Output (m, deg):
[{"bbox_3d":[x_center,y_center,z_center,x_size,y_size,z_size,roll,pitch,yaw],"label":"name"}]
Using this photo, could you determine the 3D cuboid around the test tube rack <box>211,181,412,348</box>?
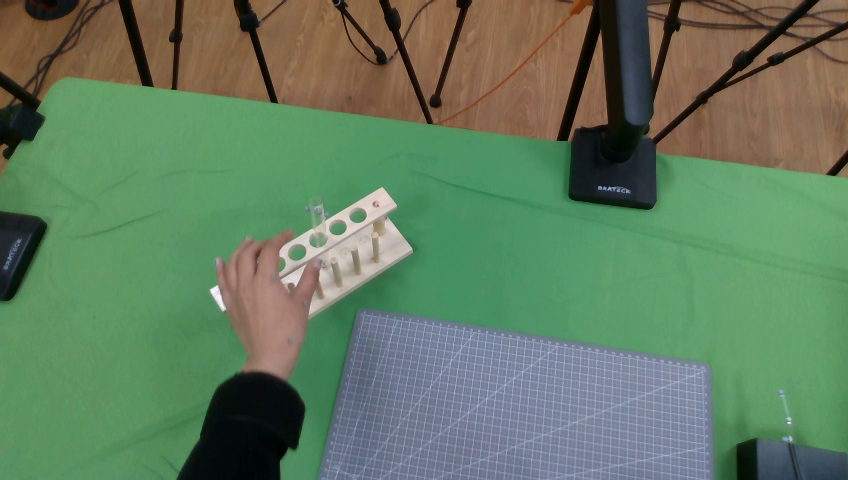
[{"bbox_3d":[-0.133,0.030,0.764,0.242,0.086,0.066,-33,68,-15],"label":"test tube rack"}]

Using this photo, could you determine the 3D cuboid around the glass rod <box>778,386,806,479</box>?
[{"bbox_3d":[0.409,0.258,0.654,0.008,0.008,0.198,0,66,0],"label":"glass rod"}]

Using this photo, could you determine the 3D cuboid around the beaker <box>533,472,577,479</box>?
[{"bbox_3d":[0.126,0.289,0.637,0.084,0.101,0.073,-7,64,-3],"label":"beaker"}]

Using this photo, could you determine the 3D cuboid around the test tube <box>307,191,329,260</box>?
[{"bbox_3d":[-0.126,-0.014,0.731,0.017,0.151,0.017,2,62,-4],"label":"test tube"}]
